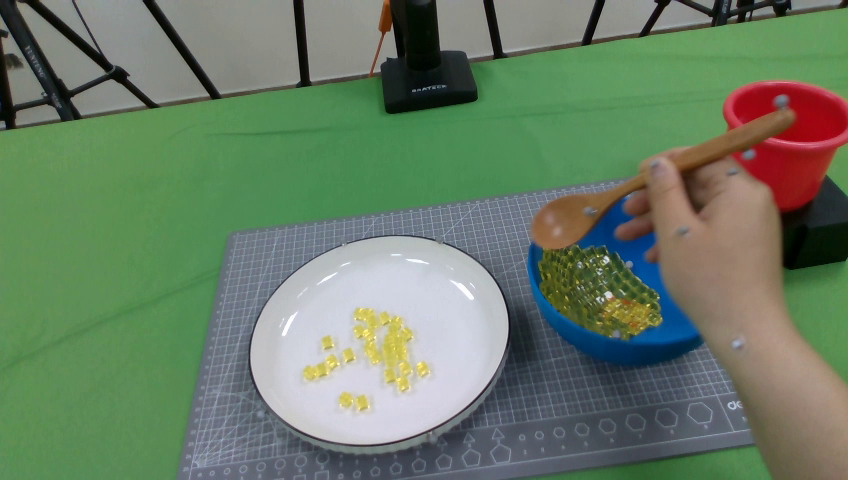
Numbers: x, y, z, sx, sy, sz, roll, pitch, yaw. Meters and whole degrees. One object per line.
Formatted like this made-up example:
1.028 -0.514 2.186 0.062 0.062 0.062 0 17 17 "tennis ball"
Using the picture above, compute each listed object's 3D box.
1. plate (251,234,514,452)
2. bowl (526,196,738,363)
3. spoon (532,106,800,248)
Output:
-0.032 0.079 0.492 0.207 0.039 0.205 -4 44 4 "plate"
0.154 0.043 0.473 0.151 0.077 0.150 -4 44 4 "bowl"
0.140 -0.037 0.390 0.022 0.193 0.041 14 65 -28 "spoon"
